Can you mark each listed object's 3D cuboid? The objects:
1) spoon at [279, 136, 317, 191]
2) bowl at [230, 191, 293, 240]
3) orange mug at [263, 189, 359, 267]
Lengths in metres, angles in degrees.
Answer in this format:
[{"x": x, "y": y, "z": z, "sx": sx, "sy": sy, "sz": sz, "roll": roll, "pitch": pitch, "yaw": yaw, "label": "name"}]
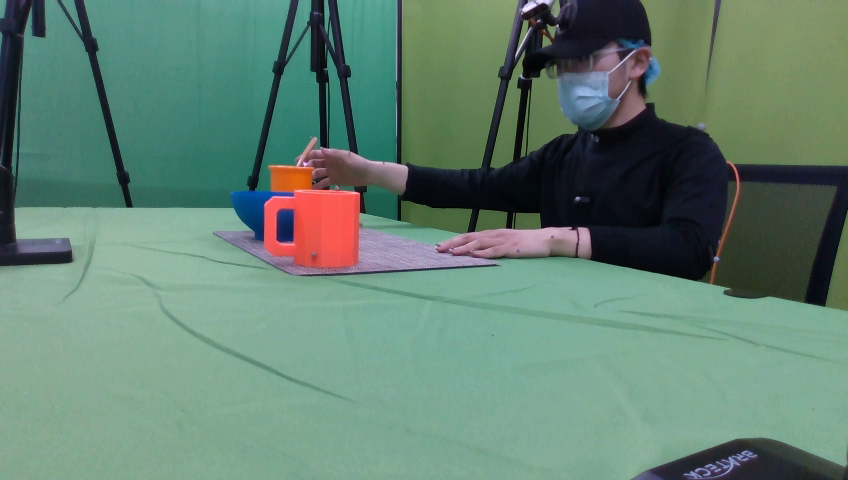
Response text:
[{"x": -0.258, "y": -0.152, "z": 1.247, "sx": 0.041, "sy": 0.193, "sz": 0.022, "roll": -1, "pitch": -38, "yaw": 25, "label": "spoon"}, {"x": -0.249, "y": -0.042, "z": 1.023, "sx": 0.151, "sy": 0.077, "sz": 0.151, "roll": 2, "pitch": 7, "yaw": 0, "label": "bowl"}, {"x": -0.147, "y": -0.019, "z": 0.795, "sx": 0.127, "sy": 0.100, "sz": 0.083, "roll": 5, "pitch": 6, "yaw": -19, "label": "orange mug"}]
